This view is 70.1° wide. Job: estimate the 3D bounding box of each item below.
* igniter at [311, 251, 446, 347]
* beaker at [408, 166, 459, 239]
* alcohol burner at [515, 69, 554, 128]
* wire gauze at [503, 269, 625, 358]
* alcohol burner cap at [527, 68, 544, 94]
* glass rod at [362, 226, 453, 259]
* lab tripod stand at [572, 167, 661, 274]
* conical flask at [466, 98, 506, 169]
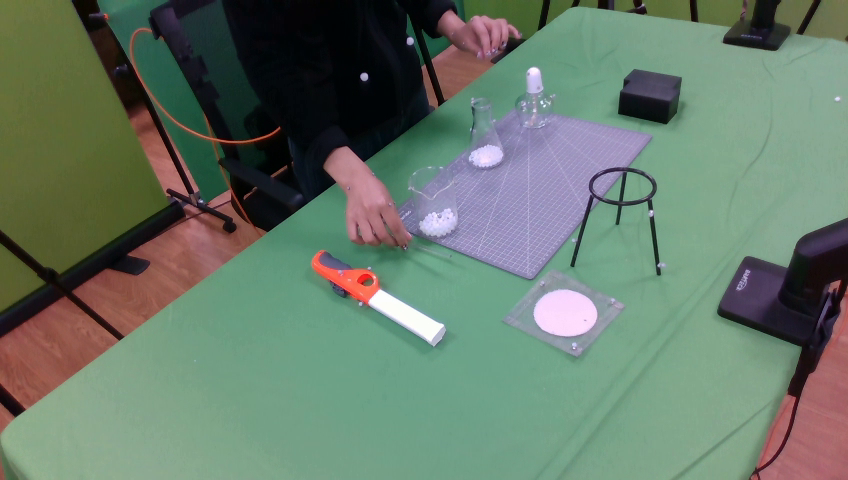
[{"bbox_3d":[-0.078,0.081,0.899,0.274,0.025,0.057,27,63,35],"label":"igniter"},{"bbox_3d":[0.018,-0.058,0.984,0.074,0.101,0.083,-6,41,5],"label":"beaker"},{"bbox_3d":[0.221,-0.285,1.203,0.078,0.119,0.077,-4,39,4],"label":"alcohol burner"},{"bbox_3d":[0.194,0.100,0.840,0.120,0.011,0.125,27,54,36],"label":"wire gauze"},{"bbox_3d":[0.216,-0.312,1.179,0.034,0.048,0.033,-9,41,9],"label":"alcohol burner cap"},{"bbox_3d":[-0.031,0.002,0.981,0.198,0.008,0.008,18,47,37],"label":"glass rod"},{"bbox_3d":[0.283,-0.030,0.879,0.148,0.132,0.147,-7,38,6],"label":"lab tripod stand"},{"bbox_3d":[0.111,-0.199,1.116,0.075,0.122,0.075,-5,40,5],"label":"conical flask"}]
